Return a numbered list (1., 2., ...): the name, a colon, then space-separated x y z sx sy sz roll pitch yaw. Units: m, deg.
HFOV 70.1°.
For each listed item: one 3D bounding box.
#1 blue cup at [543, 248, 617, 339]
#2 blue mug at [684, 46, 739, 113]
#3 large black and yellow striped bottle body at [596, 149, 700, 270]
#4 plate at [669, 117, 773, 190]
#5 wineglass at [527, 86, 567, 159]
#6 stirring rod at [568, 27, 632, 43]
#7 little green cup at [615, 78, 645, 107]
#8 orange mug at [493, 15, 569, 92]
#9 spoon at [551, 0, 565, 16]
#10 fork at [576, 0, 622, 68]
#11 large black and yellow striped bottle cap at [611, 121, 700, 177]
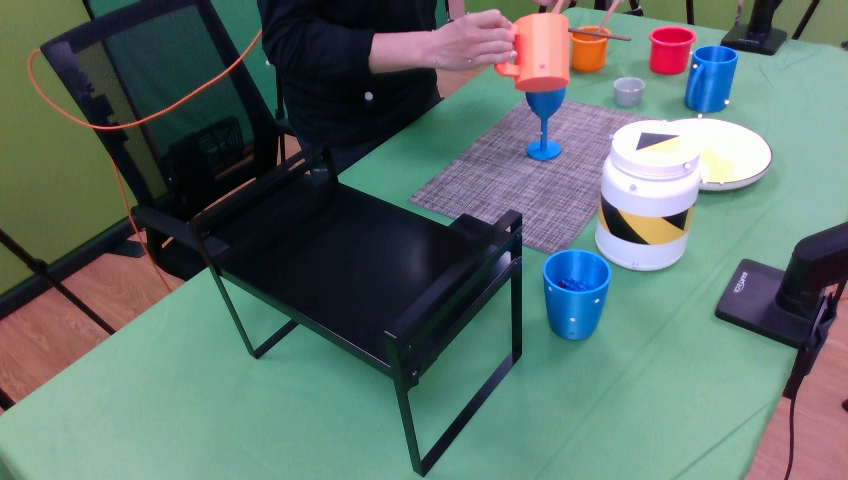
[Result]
1. blue cup: 0.199 0.076 0.797 0.092 0.100 0.092 -4 39 4
2. blue mug: 0.556 -0.310 1.190 0.117 0.106 0.081 -32 46 -25
3. large black and yellow striped bottle body: 0.323 -0.062 0.877 0.131 0.185 0.130 -5 40 4
4. plate: 0.495 -0.148 1.063 0.209 0.038 0.208 -5 40 4
5. wineglass: 0.221 -0.237 1.097 0.074 0.173 0.073 -4 41 4
6. stirring rod: 0.381 -0.462 1.356 0.175 0.006 0.014 23 48 30
7. little green cup: 0.426 -0.306 1.257 0.061 0.039 0.061 -4 40 4
8. orange mug: 0.168 -0.293 0.948 0.127 0.100 0.083 4 -3 -20
9. spoon: 0.227 -0.386 0.979 0.041 0.022 0.193 17 69 44
10. fork: 0.409 -0.484 1.381 0.028 0.019 0.207 37 101 46
11. large black and yellow striped bottle cap: 0.315 -0.126 0.823 0.115 0.019 0.114 -4 42 4
